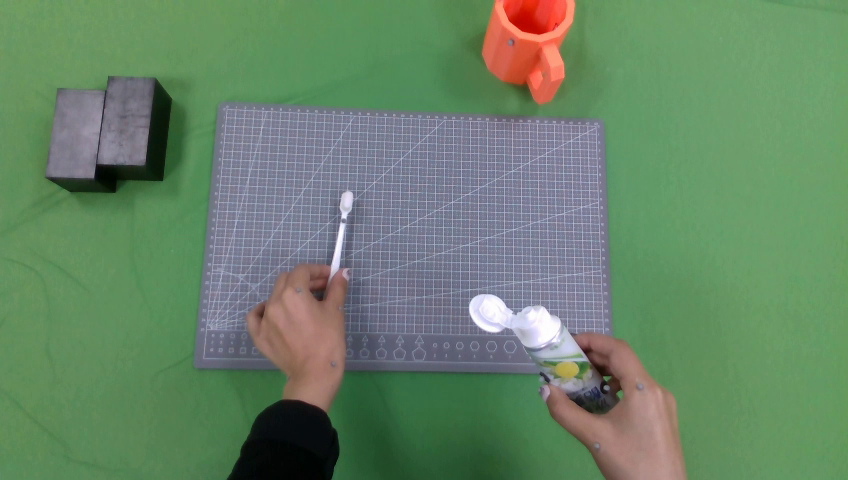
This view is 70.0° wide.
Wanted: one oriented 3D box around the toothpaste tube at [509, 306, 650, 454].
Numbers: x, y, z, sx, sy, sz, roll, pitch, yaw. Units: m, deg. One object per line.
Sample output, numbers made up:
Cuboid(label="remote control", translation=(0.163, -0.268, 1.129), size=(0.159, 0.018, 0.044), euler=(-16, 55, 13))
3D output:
Cuboid(label="toothpaste tube", translation=(0.121, 0.115, 0.491), size=(0.055, 0.034, 0.166), euler=(-29, 112, 25))

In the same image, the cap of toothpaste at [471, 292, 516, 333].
Cuboid(label="cap of toothpaste", translation=(0.055, 0.056, 0.476), size=(0.037, 0.011, 0.037), euler=(11, 55, -16))

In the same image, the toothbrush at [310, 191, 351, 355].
Cuboid(label="toothbrush", translation=(-0.099, 0.032, 0.650), size=(0.014, 0.016, 0.181), euler=(13, 77, -18))

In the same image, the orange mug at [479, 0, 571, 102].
Cuboid(label="orange mug", translation=(0.118, -0.225, 0.688), size=(0.083, 0.101, 0.125), euler=(-20, 76, -7))
